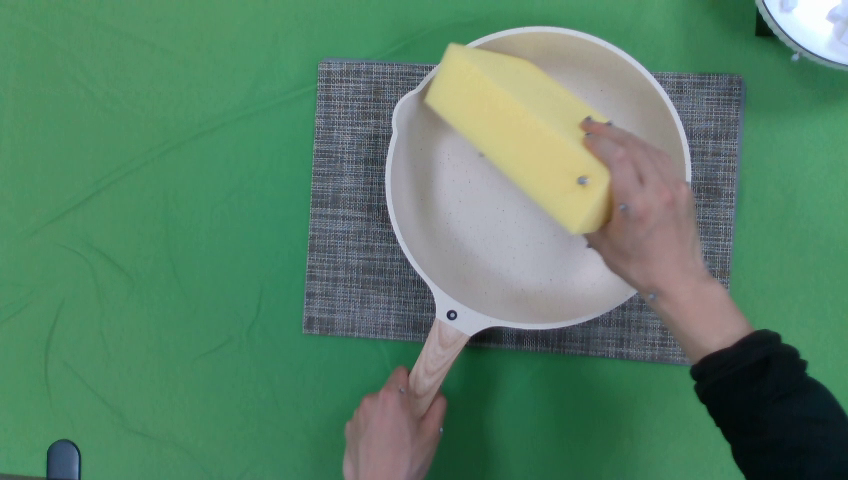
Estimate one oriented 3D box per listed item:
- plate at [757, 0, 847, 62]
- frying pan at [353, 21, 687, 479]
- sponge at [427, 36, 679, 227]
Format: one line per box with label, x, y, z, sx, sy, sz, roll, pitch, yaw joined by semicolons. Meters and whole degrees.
plate;0.401;-0.264;0.557;0.207;0.039;0.207;0;91;4
frying pan;0.055;0.025;0.602;0.306;0.103;0.487;29;85;5
sponge;0.111;-0.102;0.548;0.204;0.119;0.061;49;127;32
